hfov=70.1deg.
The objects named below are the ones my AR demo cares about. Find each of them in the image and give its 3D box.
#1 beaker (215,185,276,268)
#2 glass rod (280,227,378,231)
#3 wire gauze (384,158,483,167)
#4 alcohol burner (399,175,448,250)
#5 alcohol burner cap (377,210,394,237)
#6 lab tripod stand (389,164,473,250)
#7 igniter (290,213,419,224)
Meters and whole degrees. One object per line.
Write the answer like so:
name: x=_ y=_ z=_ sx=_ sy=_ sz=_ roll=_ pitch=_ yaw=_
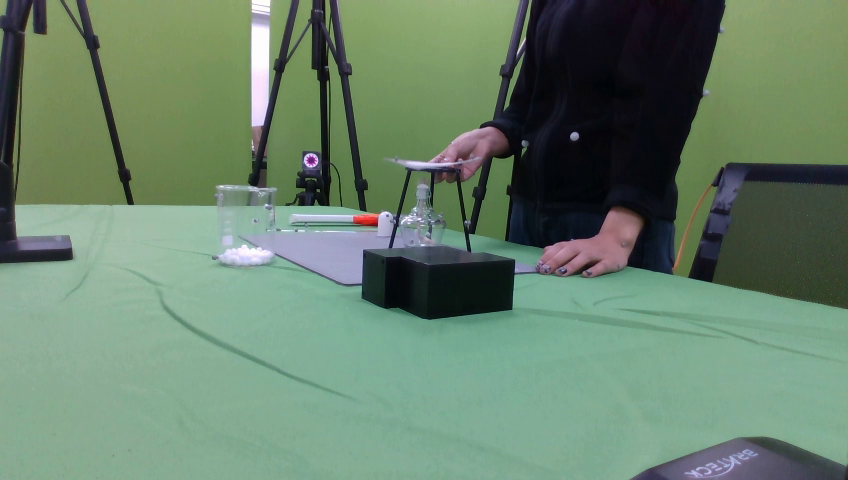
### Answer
beaker: x=-0.226 y=-0.019 z=0.773 sx=0.074 sy=0.100 sz=0.084 roll=5 pitch=7 yaw=14
glass rod: x=-0.175 y=-0.021 z=1.161 sx=0.200 sy=0.008 sz=0.008 roll=0 pitch=7 yaw=-15
wire gauze: x=0.012 y=-0.124 z=0.962 sx=0.122 sy=0.011 sz=0.124 roll=-7 pitch=10 yaw=-31
alcohol burner: x=-0.001 y=-0.044 z=0.962 sx=0.078 sy=0.119 sz=0.078 roll=0 pitch=8 yaw=0
alcohol burner cap: x=-0.069 y=-0.031 z=1.112 sx=0.034 sy=0.048 sz=0.034 roll=3 pitch=8 yaw=0
lab tripod stand: x=0.011 y=-0.054 z=0.960 sx=0.148 sy=0.131 sz=0.148 roll=2 pitch=9 yaw=0
igniter: x=-0.143 y=-0.046 z=1.288 sx=0.278 sy=0.025 sz=0.057 roll=-1 pitch=-3 yaw=-24
